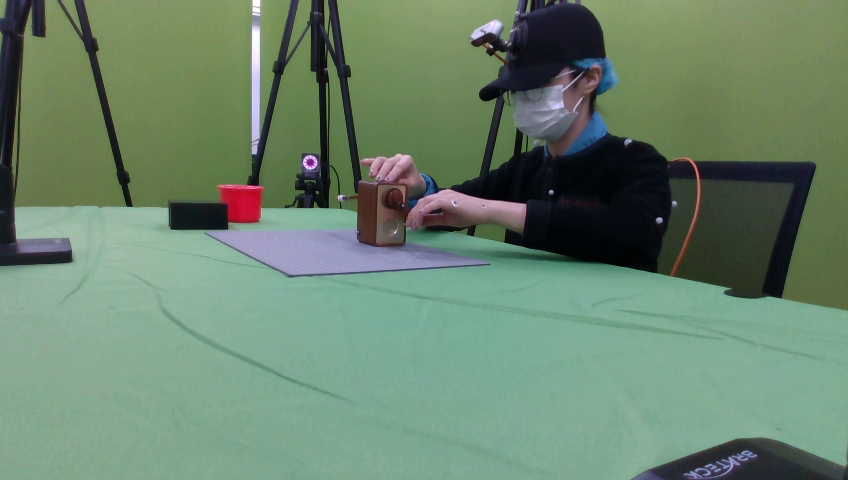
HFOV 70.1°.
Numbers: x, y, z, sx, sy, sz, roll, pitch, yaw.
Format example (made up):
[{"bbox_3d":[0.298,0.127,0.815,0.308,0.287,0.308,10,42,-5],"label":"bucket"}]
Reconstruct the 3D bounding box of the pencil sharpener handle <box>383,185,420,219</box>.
[{"bbox_3d":[-0.034,-0.060,0.980,0.068,0.036,0.030,47,-18,-29],"label":"pencil sharpener handle"}]

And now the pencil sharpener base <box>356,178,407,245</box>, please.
[{"bbox_3d":[-0.071,-0.049,1.018,0.062,0.107,0.076,-3,9,-33],"label":"pencil sharpener base"}]

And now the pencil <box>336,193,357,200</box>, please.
[{"bbox_3d":[-0.121,-0.082,1.101,0.012,0.012,0.193,-2,3,-29],"label":"pencil"}]
